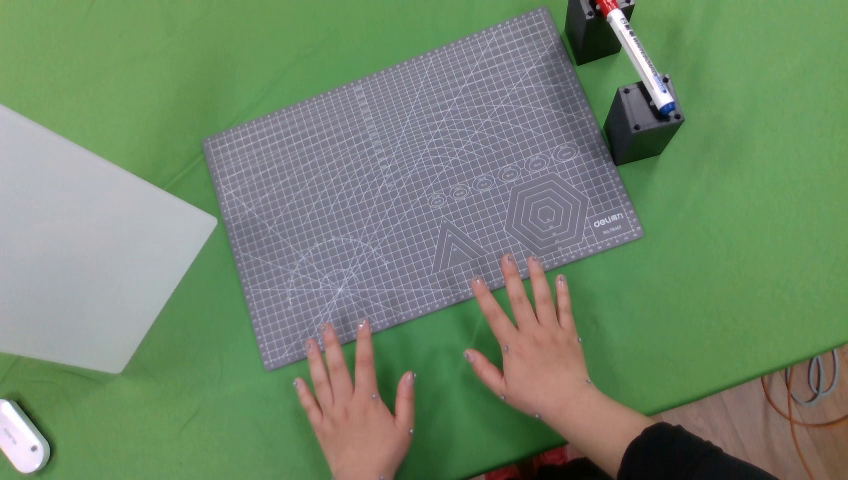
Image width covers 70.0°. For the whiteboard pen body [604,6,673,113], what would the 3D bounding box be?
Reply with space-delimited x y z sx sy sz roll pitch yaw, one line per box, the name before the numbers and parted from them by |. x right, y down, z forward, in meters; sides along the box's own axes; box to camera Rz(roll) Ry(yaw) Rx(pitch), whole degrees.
whiteboard pen body | 0.201 -0.185 0.586 0.017 0.017 0.140 -25 78 3

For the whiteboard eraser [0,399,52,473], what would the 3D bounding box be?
whiteboard eraser | -0.479 0.228 0.709 0.101 0.019 0.041 42 87 12

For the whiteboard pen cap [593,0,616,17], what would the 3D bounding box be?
whiteboard pen cap | 0.177 -0.238 0.599 0.017 0.017 0.032 -25 79 3

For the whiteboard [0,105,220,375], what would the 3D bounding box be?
whiteboard | -0.416 -0.012 0.630 0.142 0.308 0.217 29 85 32
